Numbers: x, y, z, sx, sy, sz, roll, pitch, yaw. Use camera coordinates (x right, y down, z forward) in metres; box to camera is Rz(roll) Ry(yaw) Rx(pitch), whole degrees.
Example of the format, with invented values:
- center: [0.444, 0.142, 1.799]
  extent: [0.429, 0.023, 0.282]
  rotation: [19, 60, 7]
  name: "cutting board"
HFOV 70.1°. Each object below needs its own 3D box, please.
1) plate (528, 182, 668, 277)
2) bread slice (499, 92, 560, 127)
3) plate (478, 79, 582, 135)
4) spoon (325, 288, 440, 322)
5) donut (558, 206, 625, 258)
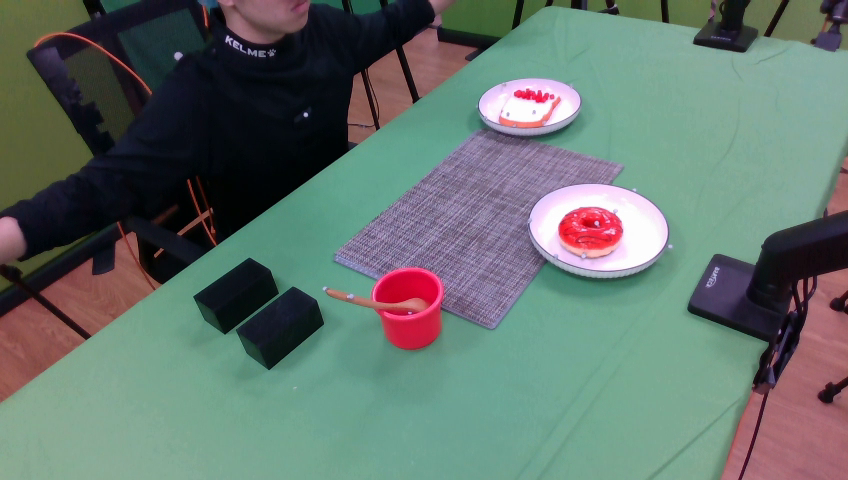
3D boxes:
- center: [0.264, -0.014, 0.933]
  extent: [0.207, 0.039, 0.206]
  rotation: [-3, 42, 3]
  name: "plate"
- center: [0.214, -0.268, 1.243]
  extent: [0.104, 0.019, 0.131]
  rotation: [12, 43, 21]
  name: "bread slice"
- center: [0.216, -0.268, 1.239]
  extent: [0.209, 0.038, 0.208]
  rotation: [-4, 40, 4]
  name: "plate"
- center: [-0.047, 0.084, 0.776]
  extent: [0.195, 0.021, 0.041]
  rotation: [12, 27, -42]
  name: "spoon"
- center: [0.254, -0.015, 0.917]
  extent: [0.099, 0.048, 0.098]
  rotation: [-5, 41, 5]
  name: "donut"
